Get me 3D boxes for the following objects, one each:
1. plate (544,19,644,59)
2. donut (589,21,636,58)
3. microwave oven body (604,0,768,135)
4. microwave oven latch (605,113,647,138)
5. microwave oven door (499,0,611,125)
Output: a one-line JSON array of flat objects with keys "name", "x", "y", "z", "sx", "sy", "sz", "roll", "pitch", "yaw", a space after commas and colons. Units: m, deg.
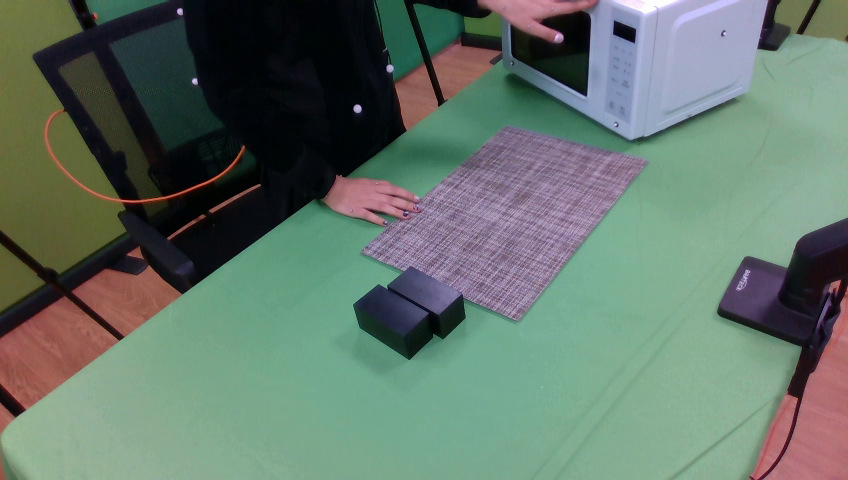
[{"name": "plate", "x": 0.358, "y": -0.428, "z": 1.290, "sx": 0.209, "sy": 0.038, "sz": 0.208, "roll": 1, "pitch": 34, "yaw": 0}, {"name": "donut", "x": 0.403, "y": -0.429, "z": 1.296, "sx": 0.099, "sy": 0.048, "sz": 0.098, "roll": 1, "pitch": 55, "yaw": -1}, {"name": "microwave oven body", "x": 0.411, "y": -0.441, "z": 1.235, "sx": 0.327, "sy": 0.261, "sz": 0.437, "roll": -25, "pitch": 42, "yaw": -16}, {"name": "microwave oven latch", "x": 0.376, "y": -0.217, "z": 1.130, "sx": 0.030, "sy": 0.029, "sz": 0.078, "roll": -24, "pitch": 42, "yaw": -16}, {"name": "microwave oven door", "x": 0.262, "y": -0.410, "z": 1.219, "sx": 0.039, "sy": 0.245, "sz": 0.352, "roll": -24, "pitch": 42, "yaw": -17}]
